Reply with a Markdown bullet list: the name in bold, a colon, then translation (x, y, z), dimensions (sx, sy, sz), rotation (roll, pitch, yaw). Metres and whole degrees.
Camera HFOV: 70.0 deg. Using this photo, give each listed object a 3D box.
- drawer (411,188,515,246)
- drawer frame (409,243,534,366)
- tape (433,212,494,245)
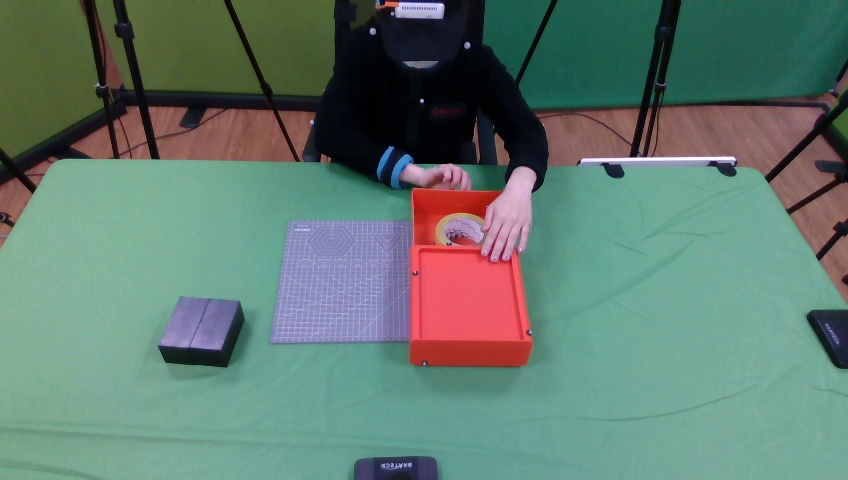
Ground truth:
- **drawer**: translation (0.073, -0.008, 1.170), dimensions (0.194, 0.073, 0.210), rotation (2, 46, -3)
- **drawer frame**: translation (0.074, 0.107, 1.053), dimensions (0.202, 0.083, 0.212), rotation (1, 47, -4)
- **tape**: translation (0.074, 0.001, 1.170), dimensions (0.117, 0.053, 0.116), rotation (2, 44, -2)
